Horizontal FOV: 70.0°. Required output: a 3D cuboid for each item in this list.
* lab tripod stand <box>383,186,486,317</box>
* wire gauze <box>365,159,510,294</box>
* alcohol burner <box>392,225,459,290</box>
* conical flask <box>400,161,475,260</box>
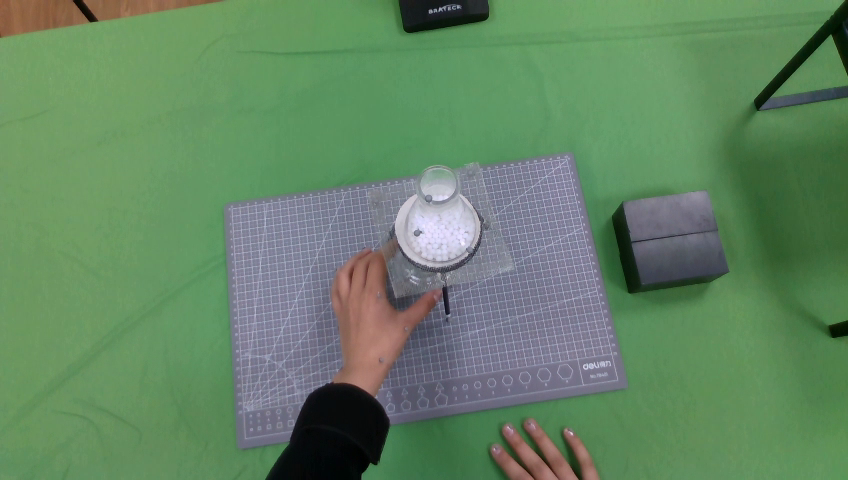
[{"bbox_3d":[0.017,0.001,0.678,0.148,0.132,0.147,0,72,2],"label":"lab tripod stand"},{"bbox_3d":[0.013,-0.014,0.615,0.125,0.011,0.121,-13,76,-5],"label":"wire gauze"},{"bbox_3d":[0.001,0.015,0.685,0.078,0.120,0.077,0,73,0],"label":"alcohol burner"},{"bbox_3d":[0.012,-0.031,0.558,0.075,0.122,0.075,0,73,2],"label":"conical flask"}]
